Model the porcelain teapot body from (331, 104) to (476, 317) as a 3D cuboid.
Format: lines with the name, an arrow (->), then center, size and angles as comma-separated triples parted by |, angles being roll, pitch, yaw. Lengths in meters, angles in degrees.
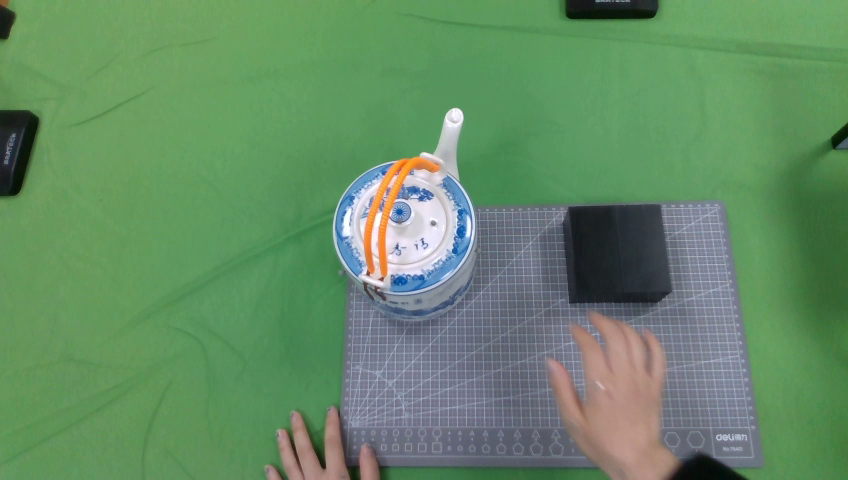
porcelain teapot body -> -0.008, -0.036, 0.624 | 0.145, 0.227, 0.204 | 20, 74, 11

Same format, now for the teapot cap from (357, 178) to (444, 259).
teapot cap -> -0.024, -0.023, 0.580 | 0.085, 0.044, 0.084 | -1, 70, 4
